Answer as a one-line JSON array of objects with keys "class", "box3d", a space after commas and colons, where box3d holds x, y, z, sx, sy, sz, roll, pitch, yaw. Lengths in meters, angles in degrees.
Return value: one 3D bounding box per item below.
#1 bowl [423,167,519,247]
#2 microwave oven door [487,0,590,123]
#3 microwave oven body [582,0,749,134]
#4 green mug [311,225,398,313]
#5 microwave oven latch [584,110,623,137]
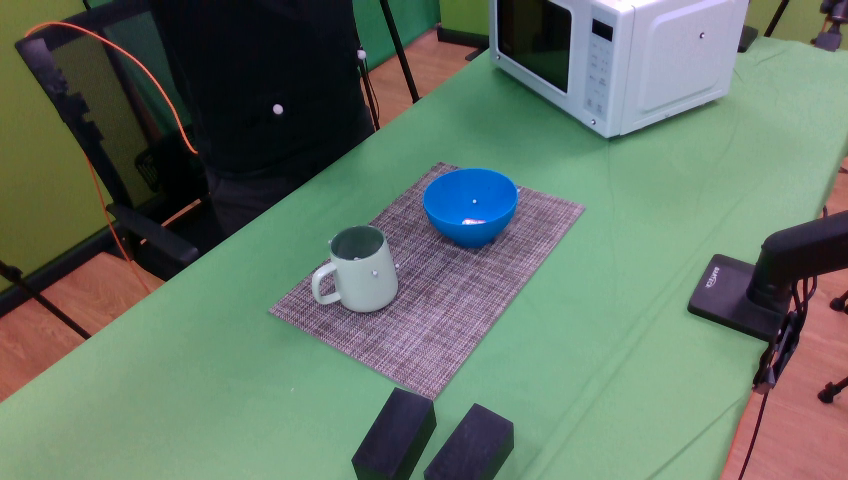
[{"class": "bowl", "box3d": [0.075, -0.041, 0.959, 0.151, 0.077, 0.150, -4, 40, 4]}, {"class": "microwave oven door", "box3d": [0.232, -0.420, 1.230, 0.039, 0.245, 0.352, -22, 43, -16]}, {"class": "microwave oven body", "box3d": [0.382, -0.444, 1.246, 0.327, 0.261, 0.437, -22, 42, -16]}, {"class": "green mug", "box3d": [-0.101, 0.050, 0.857, 0.126, 0.105, 0.091, -28, 45, -23]}, {"class": "microwave oven latch", "box3d": [0.337, -0.222, 1.142, 0.030, 0.029, 0.078, -21, 42, -14]}]
